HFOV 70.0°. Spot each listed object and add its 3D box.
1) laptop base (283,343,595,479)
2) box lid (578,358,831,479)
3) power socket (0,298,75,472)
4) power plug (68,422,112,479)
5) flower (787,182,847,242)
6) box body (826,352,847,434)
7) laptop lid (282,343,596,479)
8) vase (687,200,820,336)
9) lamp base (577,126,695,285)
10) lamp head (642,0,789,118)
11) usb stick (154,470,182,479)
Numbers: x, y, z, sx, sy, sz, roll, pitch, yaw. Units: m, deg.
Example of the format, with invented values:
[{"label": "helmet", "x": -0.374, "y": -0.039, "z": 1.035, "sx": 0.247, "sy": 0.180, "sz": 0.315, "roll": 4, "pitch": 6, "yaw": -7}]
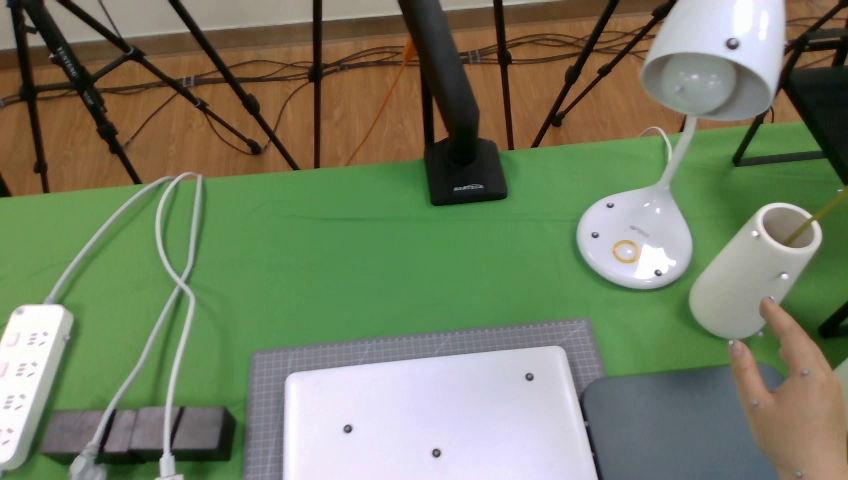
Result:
[{"label": "laptop base", "x": 0.014, "y": 0.247, "z": 0.709, "sx": 0.355, "sy": 0.023, "sz": 0.233, "roll": -5, "pitch": 60, "yaw": -3}, {"label": "box lid", "x": 0.336, "y": 0.310, "z": 0.669, "sx": 0.263, "sy": 0.015, "sz": 0.367, "roll": -5, "pitch": 57, "yaw": -4}, {"label": "power socket", "x": -0.504, "y": 0.173, "z": 0.755, "sx": 0.072, "sy": 0.033, "sz": 0.224, "roll": 0, "pitch": 56, "yaw": 0}, {"label": "power plug", "x": -0.360, "y": 0.248, "z": 0.673, "sx": 0.035, "sy": 0.053, "sz": 0.072, "roll": 23, "pitch": 66, "yaw": 38}, {"label": "flower", "x": 0.414, "y": -0.011, "z": 0.670, "sx": 0.038, "sy": 0.364, "sz": 0.043, "roll": 12, "pitch": 47, "yaw": -10}, {"label": "box body", "x": 0.622, "y": 0.256, "z": 0.611, "sx": 0.254, "sy": 0.162, "sz": 0.360, "roll": -3, "pitch": 56, "yaw": -1}, {"label": "laptop lid", "x": 0.013, "y": 0.243, "z": 0.698, "sx": 0.357, "sy": 0.013, "sz": 0.239, "roll": -4, "pitch": 59, "yaw": -2}, {"label": "vase", "x": 0.395, "y": 0.037, "z": 0.737, "sx": 0.098, "sy": 0.202, "sz": 0.097, "roll": -1, "pitch": 55, "yaw": 2}, {"label": "lamp base", "x": 0.305, "y": -0.057, "z": 0.813, "sx": 0.160, "sy": 0.182, "sz": 0.178, "roll": 24, "pitch": 57, "yaw": 16}, {"label": "lamp head", "x": 0.266, "y": -0.183, "z": 0.537, "sx": 0.112, "sy": 0.113, "sz": 0.122, "roll": 20, "pitch": 77, "yaw": 14}, {"label": "usb stick", "x": -0.279, "y": 0.284, "z": 0.661, "sx": 0.027, "sy": 0.021, "sz": 0.059, "roll": -8, "pitch": 81, "yaw": 29}]
